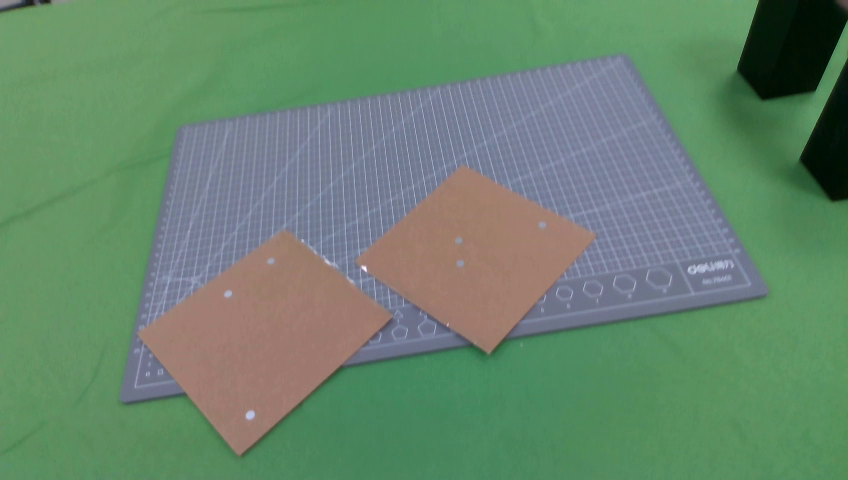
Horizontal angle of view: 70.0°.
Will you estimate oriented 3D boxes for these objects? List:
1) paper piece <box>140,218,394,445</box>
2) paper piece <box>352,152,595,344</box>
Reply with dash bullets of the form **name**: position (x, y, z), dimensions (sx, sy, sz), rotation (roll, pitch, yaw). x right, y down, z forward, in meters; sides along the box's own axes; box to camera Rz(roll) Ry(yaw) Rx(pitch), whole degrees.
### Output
- **paper piece**: position (-0.116, 0.055, 0.439), dimensions (0.138, 0.009, 0.134), rotation (-41, 54, -21)
- **paper piece**: position (0.037, -0.002, 0.462), dimensions (0.134, 0.004, 0.135), rotation (33, 62, 29)
